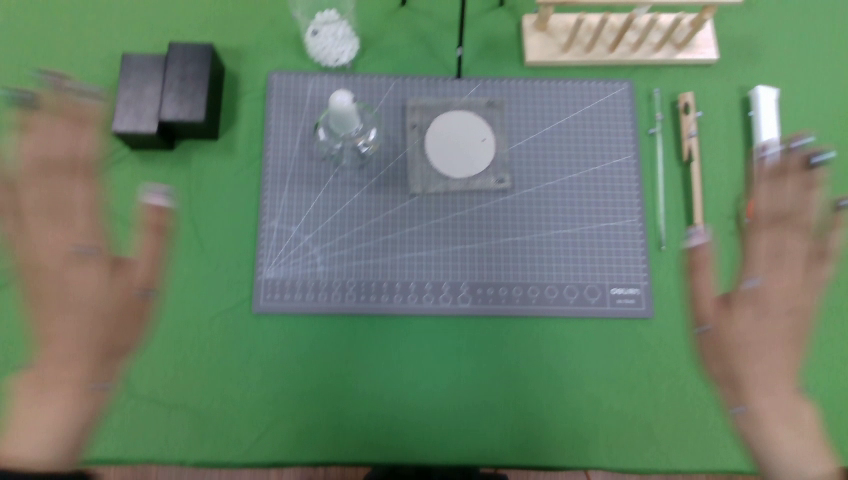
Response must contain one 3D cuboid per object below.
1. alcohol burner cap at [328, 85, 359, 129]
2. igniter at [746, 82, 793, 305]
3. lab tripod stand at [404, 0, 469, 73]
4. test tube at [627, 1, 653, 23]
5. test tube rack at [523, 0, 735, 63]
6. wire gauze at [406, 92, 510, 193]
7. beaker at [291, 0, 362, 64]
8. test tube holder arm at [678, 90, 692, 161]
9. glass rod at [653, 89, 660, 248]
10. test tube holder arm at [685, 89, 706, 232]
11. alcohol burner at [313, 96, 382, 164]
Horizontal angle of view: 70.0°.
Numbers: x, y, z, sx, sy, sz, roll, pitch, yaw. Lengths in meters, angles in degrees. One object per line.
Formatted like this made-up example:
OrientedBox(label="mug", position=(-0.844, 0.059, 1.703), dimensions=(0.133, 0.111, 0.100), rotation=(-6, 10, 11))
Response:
OrientedBox(label="alcohol burner cap", position=(-0.085, -0.141, 0.631), dimensions=(0.034, 0.048, 0.033), rotation=(2, 67, -4))
OrientedBox(label="igniter", position=(0.407, -0.058, 0.717), dimensions=(0.057, 0.025, 0.275), rotation=(8, 76, -11))
OrientedBox(label="lab tripod stand", position=(0.039, -0.292, 0.702), dimensions=(0.148, 0.132, 0.147), rotation=(0, 75, 0))
OrientedBox(label="test tube", position=(0.269, -0.295, 0.688), dimensions=(0.017, 0.150, 0.017), rotation=(2, 75, -8))
OrientedBox(label="test tube rack", position=(0.248, -0.267, 0.731), dimensions=(0.242, 0.085, 0.066), rotation=(-1, 76, -3))
OrientedBox(label="wire gauze", position=(0.039, -0.119, 0.723), dimensions=(0.121, 0.011, 0.124), rotation=(-1, 80, -4))
OrientedBox(label="beaker", position=(-0.113, -0.260, 0.707), dimensions=(0.084, 0.100, 0.073), rotation=(19, 76, 3))
OrientedBox(label="test tube holder arm", position=(0.319, -0.140, 0.739), dimensions=(0.010, 0.015, 0.087), rotation=(-9, 74, 33))
OrientedBox(label="glass rod", position=(0.281, -0.088, 0.730), dimensions=(0.008, 0.008, 0.199), rotation=(4, 80, -2))
OrientedBox(label="test tube holder arm", position=(0.324, -0.097, 0.725), dimensions=(0.013, 0.015, 0.177), rotation=(-10, 74, 33))
OrientedBox(label="alcohol burner", position=(-0.086, -0.130, 0.666), dimensions=(0.078, 0.119, 0.077), rotation=(0, 74, -1))
